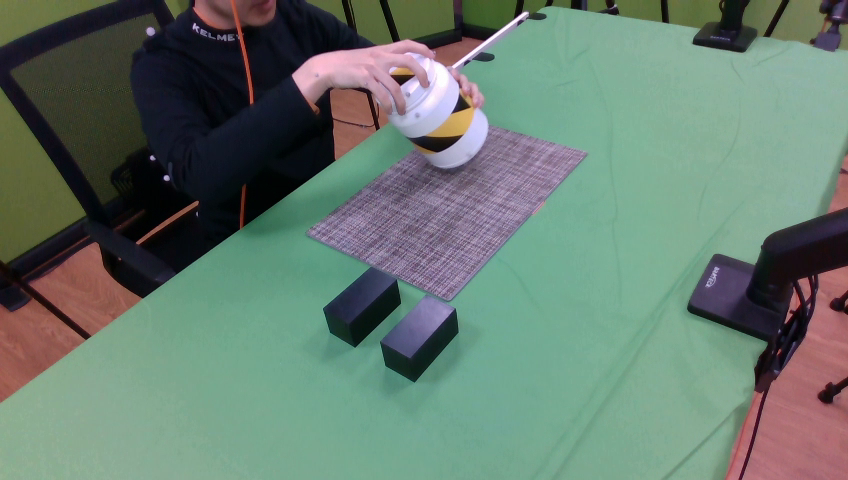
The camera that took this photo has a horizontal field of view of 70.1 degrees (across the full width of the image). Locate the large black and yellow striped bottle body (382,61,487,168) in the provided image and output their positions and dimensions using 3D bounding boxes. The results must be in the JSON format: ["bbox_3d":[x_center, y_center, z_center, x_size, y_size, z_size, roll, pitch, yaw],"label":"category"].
[{"bbox_3d":[0.012,-0.225,1.055,0.130,0.185,0.130,-20,52,28],"label":"large black and yellow striped bottle body"}]

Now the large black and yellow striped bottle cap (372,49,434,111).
[{"bbox_3d":[-0.036,-0.264,0.996,0.114,0.019,0.114,-20,51,27],"label":"large black and yellow striped bottle cap"}]
